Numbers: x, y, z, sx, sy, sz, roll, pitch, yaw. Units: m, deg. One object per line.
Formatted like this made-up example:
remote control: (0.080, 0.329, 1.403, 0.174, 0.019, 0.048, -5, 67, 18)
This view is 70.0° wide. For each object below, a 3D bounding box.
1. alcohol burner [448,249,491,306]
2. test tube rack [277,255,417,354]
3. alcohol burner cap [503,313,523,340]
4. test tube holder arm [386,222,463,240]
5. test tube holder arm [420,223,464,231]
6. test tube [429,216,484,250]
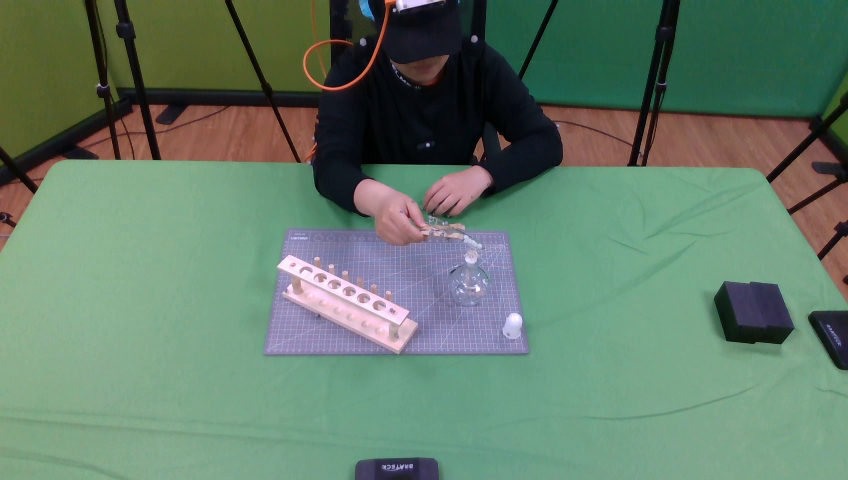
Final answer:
alcohol burner: (0.081, 0.062, 1.078, 0.078, 0.120, 0.077, 1, 45, -1)
test tube rack: (-0.131, 0.099, 1.045, 0.241, 0.085, 0.066, 23, 49, 17)
alcohol burner cap: (0.156, 0.148, 1.051, 0.034, 0.048, 0.033, 1, 45, -1)
test tube holder arm: (-0.004, -0.016, 1.009, 0.015, 0.013, 0.177, 17, -6, -43)
test tube holder arm: (0.028, -0.019, 0.977, 0.087, 0.015, 0.010, -3, 76, 45)
test tube: (0.055, -0.008, 0.976, 0.017, 0.151, 0.017, -13, 67, 33)
